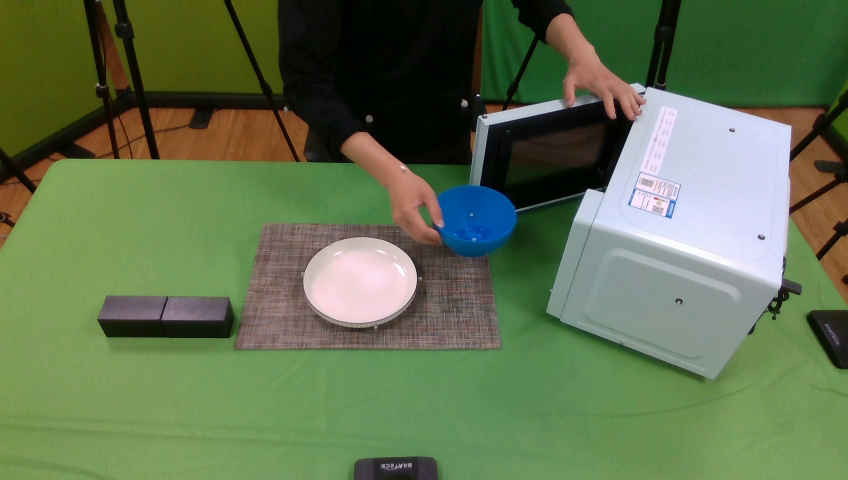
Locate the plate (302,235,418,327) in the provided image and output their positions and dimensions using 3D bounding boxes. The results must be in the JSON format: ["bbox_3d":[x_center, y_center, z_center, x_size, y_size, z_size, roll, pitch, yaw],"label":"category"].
[{"bbox_3d":[-0.114,0.077,1.098,0.208,0.039,0.206,2,46,-2],"label":"plate"}]

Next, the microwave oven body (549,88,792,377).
[{"bbox_3d":[0.456,-0.028,1.088,0.325,0.261,0.440,20,47,16],"label":"microwave oven body"}]

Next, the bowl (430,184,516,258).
[{"bbox_3d":[0.085,-0.022,1.073,0.151,0.077,0.150,1,44,-1],"label":"bowl"}]

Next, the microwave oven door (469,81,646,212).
[{"bbox_3d":[0.260,-0.174,1.205,0.356,0.245,0.039,-15,48,-17],"label":"microwave oven door"}]

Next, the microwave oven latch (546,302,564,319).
[{"bbox_3d":[0.242,0.102,1.081,0.030,0.029,0.079,22,48,17],"label":"microwave oven latch"}]
